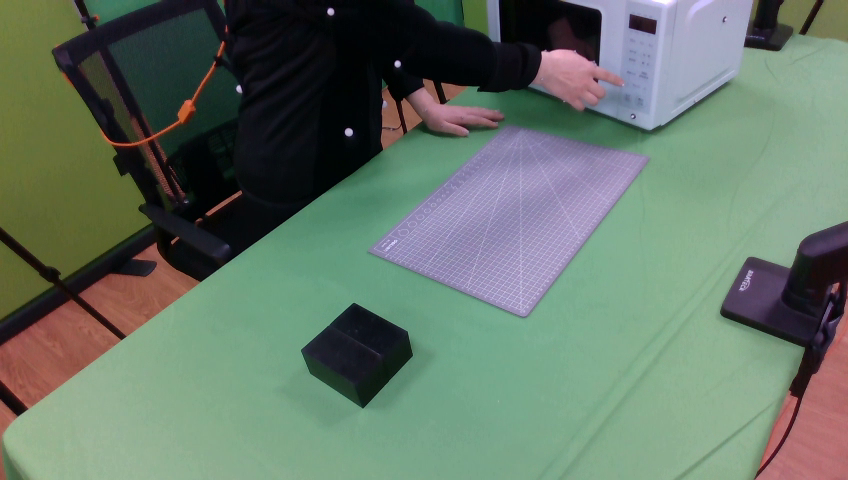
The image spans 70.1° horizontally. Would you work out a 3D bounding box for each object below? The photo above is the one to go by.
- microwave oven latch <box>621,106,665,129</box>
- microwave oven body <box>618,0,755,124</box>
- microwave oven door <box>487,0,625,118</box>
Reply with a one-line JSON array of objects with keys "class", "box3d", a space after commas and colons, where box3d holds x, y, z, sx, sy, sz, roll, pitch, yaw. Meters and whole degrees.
[{"class": "microwave oven latch", "box3d": [0.413, -0.237, 1.146, 0.030, 0.029, 0.078, -31, 44, -23]}, {"class": "microwave oven body", "box3d": [0.402, -0.458, 1.259, 0.327, 0.261, 0.437, -33, 45, -24]}, {"class": "microwave oven door", "box3d": [0.262, -0.409, 1.221, 0.039, 0.245, 0.352, -33, 45, -25]}]
